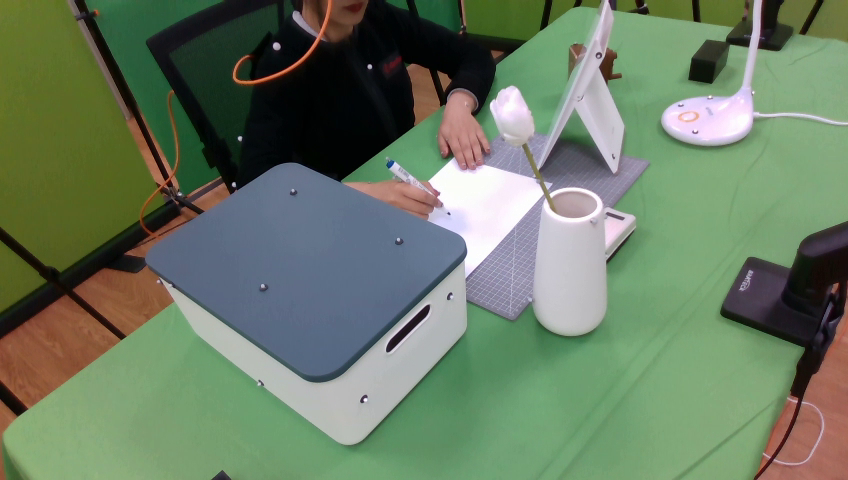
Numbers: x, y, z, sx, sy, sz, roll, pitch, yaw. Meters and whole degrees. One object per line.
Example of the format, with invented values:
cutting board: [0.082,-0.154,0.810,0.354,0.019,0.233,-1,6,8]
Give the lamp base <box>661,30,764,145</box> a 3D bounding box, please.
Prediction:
lamp base: [0.535,-0.287,1.096,0.179,0.181,0.159,-10,40,-4]

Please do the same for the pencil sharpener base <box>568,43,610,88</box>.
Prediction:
pencil sharpener base: [0.345,-0.352,1.263,0.077,0.107,0.061,-8,40,1]

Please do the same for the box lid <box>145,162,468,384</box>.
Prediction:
box lid: [-0.157,0.014,0.769,0.368,0.015,0.264,25,51,33]

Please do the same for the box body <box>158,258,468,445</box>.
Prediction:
box body: [-0.147,0.072,0.816,0.361,0.161,0.255,24,50,33]

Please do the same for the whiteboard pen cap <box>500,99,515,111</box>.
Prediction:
whiteboard pen cap: [0.177,-0.287,1.290,0.033,0.018,0.018,-37,47,-26]

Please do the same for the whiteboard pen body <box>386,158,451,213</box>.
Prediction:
whiteboard pen body: [-0.006,-0.084,0.972,0.017,0.142,0.017,-39,28,26]

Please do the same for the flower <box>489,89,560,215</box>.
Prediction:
flower: [0.159,-0.028,0.720,0.038,0.364,0.044,-14,44,23]

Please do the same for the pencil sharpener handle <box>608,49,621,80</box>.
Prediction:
pencil sharpener handle: [0.394,-0.367,1.253,0.030,0.068,0.036,-8,32,1]

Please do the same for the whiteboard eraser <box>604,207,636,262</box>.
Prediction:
whiteboard eraser: [0.272,-0.003,0.919,0.055,0.042,0.113,27,51,32]

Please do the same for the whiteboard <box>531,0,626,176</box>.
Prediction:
whiteboard: [0.320,-0.259,1.050,0.144,0.306,0.217,22,46,6]

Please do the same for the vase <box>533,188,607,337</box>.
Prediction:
vase: [0.187,0.033,0.771,0.098,0.201,0.097,-6,41,6]
